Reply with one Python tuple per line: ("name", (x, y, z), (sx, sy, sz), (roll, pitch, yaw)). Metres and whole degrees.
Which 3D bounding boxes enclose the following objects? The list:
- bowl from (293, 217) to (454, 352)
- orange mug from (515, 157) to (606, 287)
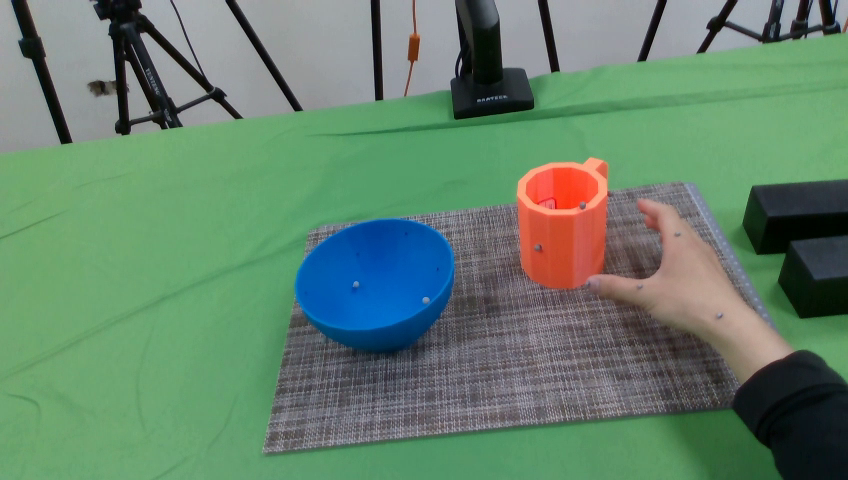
("bowl", (-0.041, 0.055, 0.582), (0.151, 0.077, 0.150), (-6, 40, 6))
("orange mug", (0.148, -0.027, 0.618), (0.083, 0.102, 0.126), (24, 55, 34))
